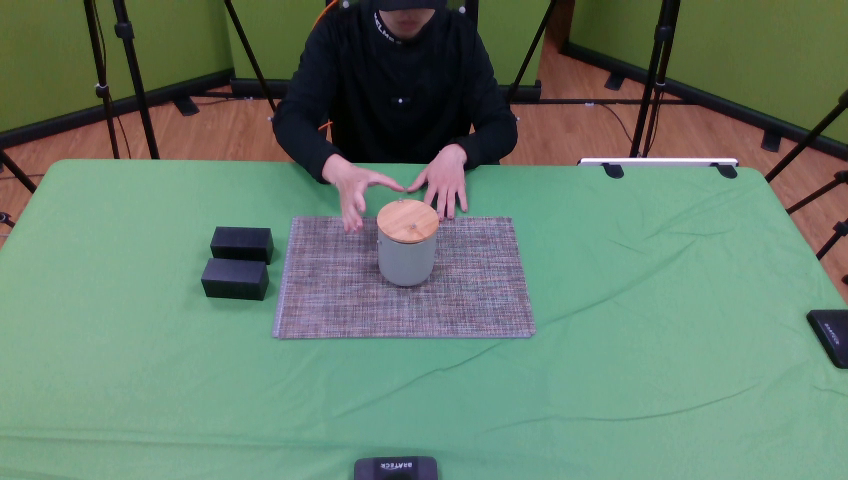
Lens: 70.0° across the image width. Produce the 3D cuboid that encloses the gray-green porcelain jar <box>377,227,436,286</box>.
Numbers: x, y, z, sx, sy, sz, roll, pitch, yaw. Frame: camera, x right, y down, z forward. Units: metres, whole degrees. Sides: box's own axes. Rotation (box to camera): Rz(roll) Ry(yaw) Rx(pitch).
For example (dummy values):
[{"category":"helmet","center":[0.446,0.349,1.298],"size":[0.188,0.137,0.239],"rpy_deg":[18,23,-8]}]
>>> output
[{"category":"gray-green porcelain jar","center":[-0.033,0.014,1.106],"size":[0.106,0.127,0.105],"rpy_deg":[2,46,-2]}]

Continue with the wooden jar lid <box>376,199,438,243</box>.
[{"category":"wooden jar lid","center":[-0.029,-0.030,1.059],"size":[0.108,0.021,0.107],"rpy_deg":[2,43,-2]}]
